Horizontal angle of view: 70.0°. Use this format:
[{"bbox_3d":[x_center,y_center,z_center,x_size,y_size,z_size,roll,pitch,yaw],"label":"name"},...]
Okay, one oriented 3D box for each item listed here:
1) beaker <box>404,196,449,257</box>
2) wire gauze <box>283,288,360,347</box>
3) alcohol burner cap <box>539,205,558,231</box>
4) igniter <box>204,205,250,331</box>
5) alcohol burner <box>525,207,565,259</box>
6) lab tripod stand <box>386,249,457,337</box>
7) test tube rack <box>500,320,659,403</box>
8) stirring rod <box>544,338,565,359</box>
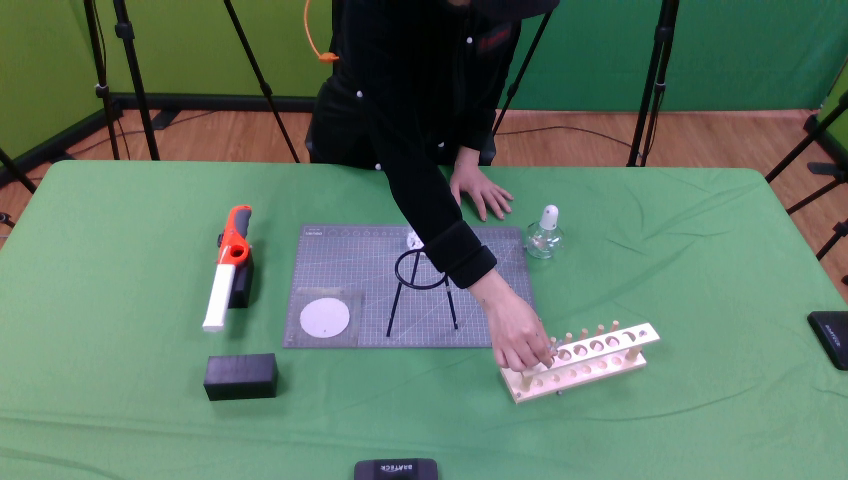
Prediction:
[{"bbox_3d":[0.002,-0.023,1.164,0.084,0.101,0.073,6,46,0],"label":"beaker"},{"bbox_3d":[-0.177,0.132,1.062,0.125,0.011,0.120,2,47,1],"label":"wire gauze"},{"bbox_3d":[0.239,-0.045,1.148,0.034,0.048,0.033,2,42,-1],"label":"alcohol burner cap"},{"bbox_3d":[-0.344,0.039,1.064,0.057,0.025,0.274,2,48,-6],"label":"igniter"},{"bbox_3d":[0.236,-0.020,1.174,0.078,0.120,0.077,1,48,-1],"label":"alcohol burner"},{"bbox_3d":[-0.010,0.087,1.032,0.148,0.132,0.147,1,45,-1],"label":"lab tripod stand"},{"bbox_3d":[0.253,0.187,0.994,0.243,0.085,0.066,-12,48,-15],"label":"test tube rack"},{"bbox_3d":[0.193,0.166,0.902,0.014,0.177,0.006,35,78,15],"label":"stirring rod"}]
